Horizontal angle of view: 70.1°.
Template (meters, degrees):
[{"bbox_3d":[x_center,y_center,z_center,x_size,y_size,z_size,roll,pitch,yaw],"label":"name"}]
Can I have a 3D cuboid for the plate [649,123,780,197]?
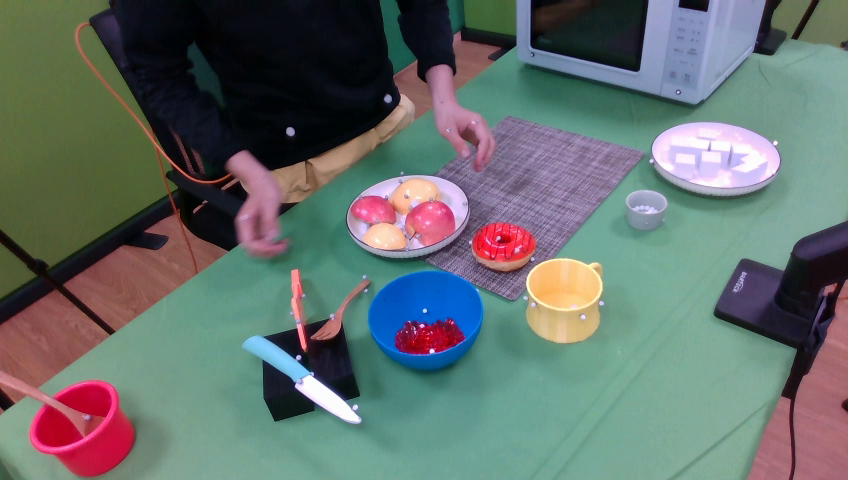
[{"bbox_3d":[0.497,-0.135,1.046,0.207,0.039,0.206,-4,40,4],"label":"plate"}]

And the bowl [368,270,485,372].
[{"bbox_3d":[0.007,0.118,0.791,0.151,0.077,0.150,-5,40,4],"label":"bowl"}]

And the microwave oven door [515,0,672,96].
[{"bbox_3d":[0.343,-0.455,1.259,0.353,0.245,0.039,26,51,33],"label":"microwave oven door"}]

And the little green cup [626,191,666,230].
[{"bbox_3d":[0.352,-0.046,0.963,0.061,0.039,0.061,-4,40,4],"label":"little green cup"}]

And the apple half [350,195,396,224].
[{"bbox_3d":[-0.080,-0.056,1.008,0.081,0.033,0.081,10,24,-4],"label":"apple half"}]

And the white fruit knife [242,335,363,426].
[{"bbox_3d":[-0.148,0.167,0.730,0.206,0.016,0.027,26,80,31],"label":"white fruit knife"}]

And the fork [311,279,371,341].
[{"bbox_3d":[-0.108,0.092,0.832,0.028,0.019,0.207,-6,19,15],"label":"fork"}]

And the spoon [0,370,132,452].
[{"bbox_3d":[-0.439,0.194,0.716,0.195,0.021,0.041,38,43,-16],"label":"spoon"}]

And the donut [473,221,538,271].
[{"bbox_3d":[0.123,0.008,0.923,0.099,0.048,0.098,-3,38,3],"label":"donut"}]

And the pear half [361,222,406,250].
[{"bbox_3d":[-0.063,-0.012,0.959,0.071,0.031,0.087,3,25,-25],"label":"pear half"}]

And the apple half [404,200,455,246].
[{"bbox_3d":[0.009,-0.035,0.969,0.075,0.053,0.080,-27,41,-23],"label":"apple half"}]

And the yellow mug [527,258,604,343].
[{"bbox_3d":[0.202,0.073,0.824,0.131,0.064,0.099,-32,46,-27],"label":"yellow mug"}]

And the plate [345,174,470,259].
[{"bbox_3d":[-0.026,-0.036,1.004,0.209,0.038,0.208,-4,40,4],"label":"plate"}]

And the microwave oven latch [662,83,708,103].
[{"bbox_3d":[0.517,-0.296,1.204,0.078,0.029,0.030,28,52,35],"label":"microwave oven latch"}]

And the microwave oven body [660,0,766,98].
[{"bbox_3d":[0.472,-0.513,1.317,0.438,0.261,0.327,26,51,34],"label":"microwave oven body"}]

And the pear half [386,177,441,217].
[{"bbox_3d":[-0.030,-0.079,1.033,0.109,0.056,0.076,-1,36,15],"label":"pear half"}]

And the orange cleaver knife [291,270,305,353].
[{"bbox_3d":[-0.175,0.094,0.844,0.012,0.077,0.210,-11,14,-10],"label":"orange cleaver knife"}]
